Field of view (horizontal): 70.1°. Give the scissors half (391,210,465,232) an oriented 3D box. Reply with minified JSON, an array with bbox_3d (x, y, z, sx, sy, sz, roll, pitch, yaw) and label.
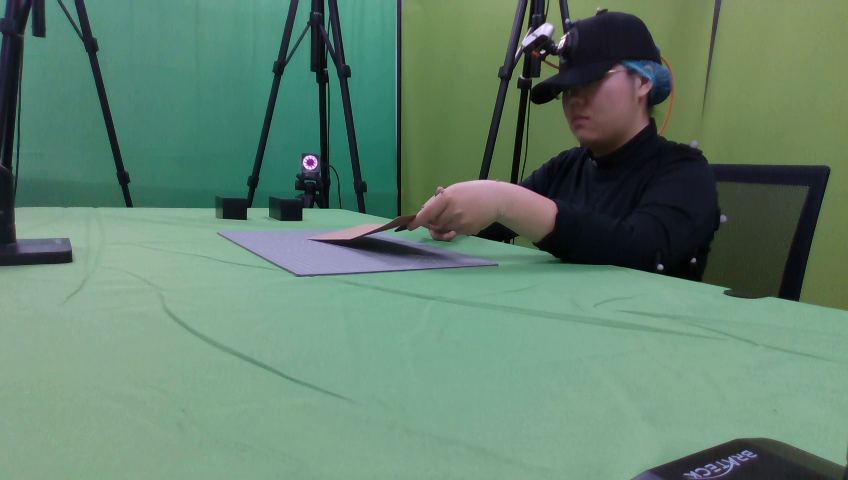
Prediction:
[{"bbox_3d":[0.010,-0.031,1.067,0.176,0.040,0.012,-4,-1,-42],"label":"scissors half"}]

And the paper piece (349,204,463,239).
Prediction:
[{"bbox_3d":[-0.029,-0.029,0.941,0.136,0.008,0.137,-22,5,-41],"label":"paper piece"}]

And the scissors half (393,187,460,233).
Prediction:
[{"bbox_3d":[0.004,-0.052,1.065,0.013,0.040,0.176,-14,17,48],"label":"scissors half"}]

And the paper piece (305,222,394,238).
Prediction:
[{"bbox_3d":[-0.116,-0.017,1.040,0.136,0.004,0.134,-16,12,-41],"label":"paper piece"}]
